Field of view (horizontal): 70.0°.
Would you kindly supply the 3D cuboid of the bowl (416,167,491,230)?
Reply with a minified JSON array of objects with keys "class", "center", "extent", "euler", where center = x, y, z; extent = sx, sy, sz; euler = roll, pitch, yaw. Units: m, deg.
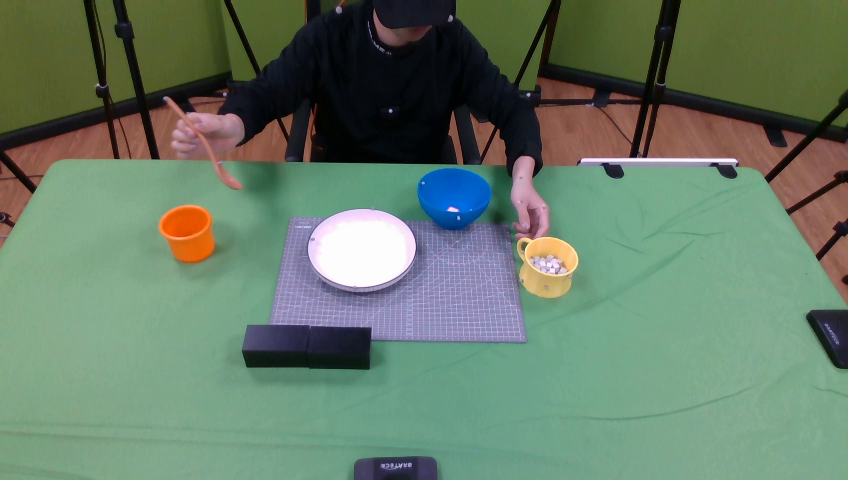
[{"class":"bowl","center":[0.056,-0.074,1.231],"extent":[0.151,0.077,0.150],"euler":[3,42,-2]}]

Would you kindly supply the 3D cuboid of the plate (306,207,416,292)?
[{"class":"plate","center":[-0.119,0.021,1.153],"extent":[0.209,0.038,0.208],"euler":[2,46,-2]}]

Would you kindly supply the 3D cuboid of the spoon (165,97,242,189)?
[{"class":"spoon","center":[-0.382,-0.166,1.053],"extent":[0.021,0.194,0.041],"euler":[-27,20,11]}]

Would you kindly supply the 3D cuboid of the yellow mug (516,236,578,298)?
[{"class":"yellow mug","center":[0.223,0.041,1.145],"extent":[0.100,0.064,0.130],"euler":[-30,54,-28]}]
